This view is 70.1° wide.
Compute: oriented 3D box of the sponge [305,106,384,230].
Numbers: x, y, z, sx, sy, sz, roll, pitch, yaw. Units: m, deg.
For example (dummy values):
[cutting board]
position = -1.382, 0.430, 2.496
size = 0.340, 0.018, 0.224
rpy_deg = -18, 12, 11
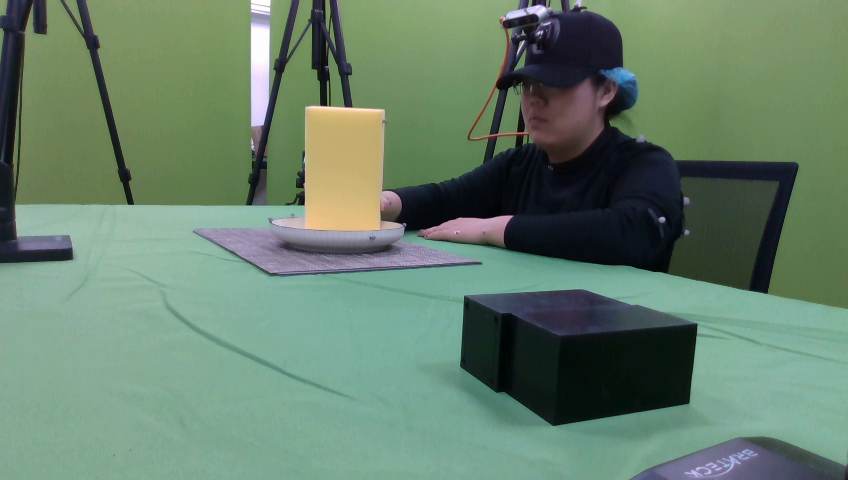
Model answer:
[sponge]
position = -0.127, -0.107, 0.969
size = 0.118, 0.206, 0.061
rpy_deg = 4, 15, -1

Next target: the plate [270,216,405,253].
[plate]
position = -0.134, -0.009, 0.946
size = 0.208, 0.039, 0.207
rpy_deg = 3, 7, 0
